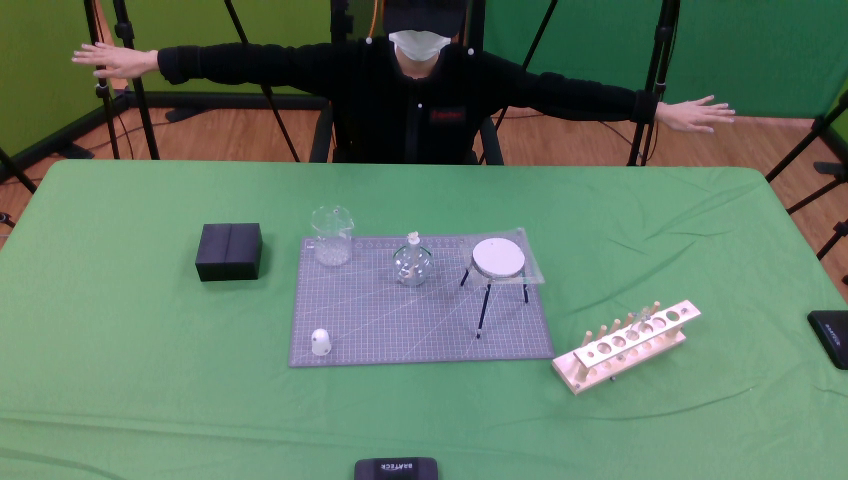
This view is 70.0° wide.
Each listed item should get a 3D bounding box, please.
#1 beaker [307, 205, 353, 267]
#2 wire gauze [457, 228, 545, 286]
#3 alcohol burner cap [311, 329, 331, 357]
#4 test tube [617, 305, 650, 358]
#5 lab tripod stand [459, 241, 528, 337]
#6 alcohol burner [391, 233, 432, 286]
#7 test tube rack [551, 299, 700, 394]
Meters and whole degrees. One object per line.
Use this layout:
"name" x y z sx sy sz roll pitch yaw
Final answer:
"beaker" -0.172 -0.004 1.131 0.084 0.101 0.073 15 47 8
"wire gauze" 0.126 0.029 1.006 0.125 0.011 0.120 -4 46 -10
"alcohol burner cap" -0.173 0.168 1.004 0.034 0.048 0.033 2 46 -2
"test tube" 0.333 0.149 0.967 0.017 0.151 0.017 0 52 1
"lab tripod stand" 0.122 0.075 1.054 0.148 0.132 0.147 3 44 -3
"alcohol burner" -0.022 0.028 1.102 0.078 0.119 0.077 2 48 -2
"test tube rack" 0.339 0.166 1.021 0.242 0.085 0.066 -19 50 -21
